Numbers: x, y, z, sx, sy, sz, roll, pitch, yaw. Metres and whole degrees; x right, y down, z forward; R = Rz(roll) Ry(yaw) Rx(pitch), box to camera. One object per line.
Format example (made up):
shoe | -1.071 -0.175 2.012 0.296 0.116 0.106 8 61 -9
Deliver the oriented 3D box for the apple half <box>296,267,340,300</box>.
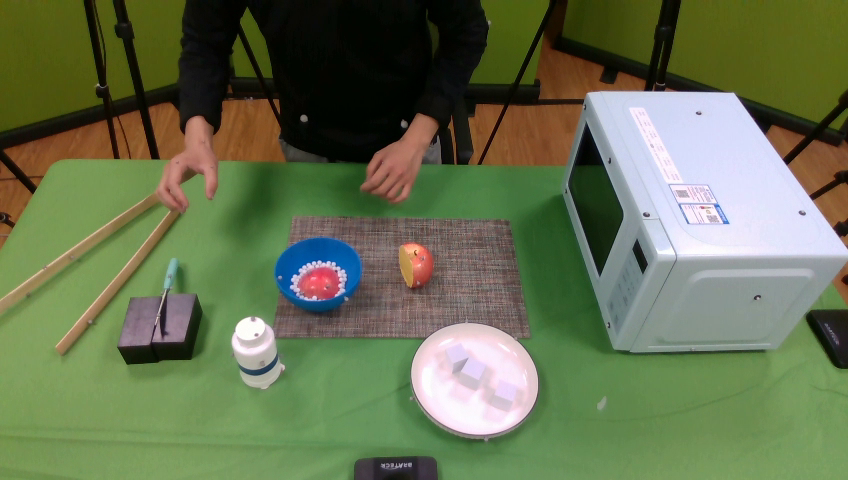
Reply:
apple half | -0.187 0.071 1.067 0.081 0.033 0.081 2 47 -2

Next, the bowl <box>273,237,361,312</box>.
bowl | -0.186 0.074 1.069 0.151 0.077 0.150 3 46 -3

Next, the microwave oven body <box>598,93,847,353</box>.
microwave oven body | 0.475 -0.041 1.109 0.326 0.261 0.438 -1 45 -4

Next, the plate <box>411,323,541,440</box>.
plate | 0.082 0.228 0.976 0.208 0.039 0.206 2 45 -2

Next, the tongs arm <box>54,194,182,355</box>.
tongs arm | -0.543 0.049 1.108 0.028 0.028 0.385 11 46 10

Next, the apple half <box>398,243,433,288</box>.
apple half | -0.012 0.046 1.115 0.053 0.075 0.080 -11 44 -19

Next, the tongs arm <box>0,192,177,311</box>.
tongs arm | -0.618 0.019 1.124 0.050 0.026 0.384 24 47 16

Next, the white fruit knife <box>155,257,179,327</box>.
white fruit knife | -0.440 0.085 1.037 0.016 0.027 0.206 10 26 -19

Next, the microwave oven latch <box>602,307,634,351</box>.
microwave oven latch | 0.332 0.153 1.044 0.030 0.029 0.078 -1 45 -4

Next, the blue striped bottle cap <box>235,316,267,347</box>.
blue striped bottle cap | -0.260 0.137 0.907 0.044 0.021 0.044 2 43 -2

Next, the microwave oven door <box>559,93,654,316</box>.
microwave oven door | 0.327 -0.074 1.123 0.039 0.245 0.353 0 46 -5

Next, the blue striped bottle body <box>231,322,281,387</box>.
blue striped bottle body | -0.262 0.171 0.944 0.063 0.121 0.062 2 46 -2
